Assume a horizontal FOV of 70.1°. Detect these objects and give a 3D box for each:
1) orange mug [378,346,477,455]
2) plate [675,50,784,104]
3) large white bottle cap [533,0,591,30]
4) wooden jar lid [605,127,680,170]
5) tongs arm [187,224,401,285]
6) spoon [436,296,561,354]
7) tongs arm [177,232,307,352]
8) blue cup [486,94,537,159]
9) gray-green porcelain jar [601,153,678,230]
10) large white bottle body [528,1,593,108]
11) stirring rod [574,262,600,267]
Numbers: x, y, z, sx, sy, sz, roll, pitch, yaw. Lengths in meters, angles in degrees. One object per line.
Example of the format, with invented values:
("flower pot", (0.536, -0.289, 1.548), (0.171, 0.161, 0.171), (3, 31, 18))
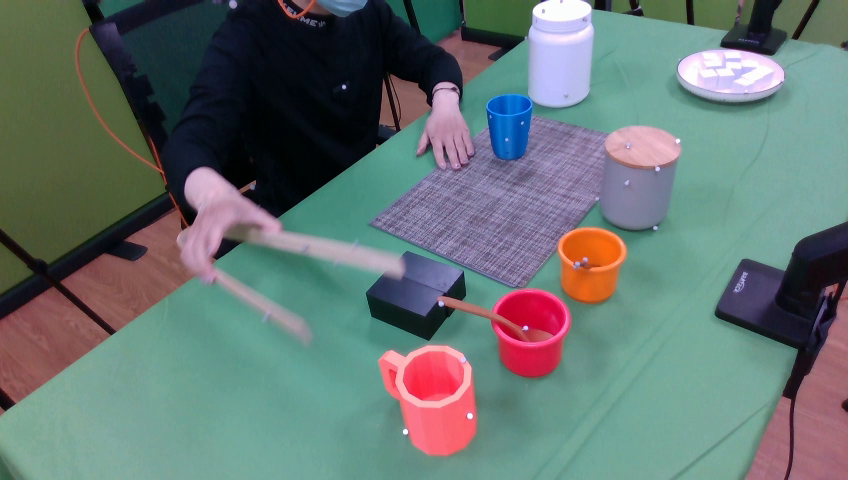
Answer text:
("orange mug", (0.002, 0.179, 0.709), (0.125, 0.101, 0.083), (25, 50, 27))
("plate", (0.632, -0.336, 1.262), (0.207, 0.039, 0.206), (-4, 41, 4))
("large white bottle cap", (0.274, -0.450, 1.204), (0.115, 0.018, 0.114), (-4, 41, 4))
("wooden jar lid", (0.327, -0.134, 0.909), (0.108, 0.021, 0.108), (-2, 43, 2))
("tongs arm", (-0.188, 0.019, 0.793), (0.381, 0.026, 0.051), (12, 38, 39))
("spoon", (0.095, 0.102, 0.750), (0.195, 0.021, 0.041), (28, 30, -28))
("tongs arm", (-0.240, 0.054, 0.748), (0.028, 0.028, 0.384), (-35, 34, -26))
("blue cup", (0.160, -0.208, 1.129), (0.092, 0.100, 0.092), (-4, 39, 3))
("gray-green porcelain jar", (0.334, -0.087, 0.949), (0.106, 0.127, 0.105), (-4, 40, 4))
("large white bottle body", (0.283, -0.386, 1.259), (0.130, 0.185, 0.130), (-5, 41, 4))
("stirring rod", (0.221, 0.033, 0.817), (0.014, 0.006, 0.177), (9, 1, 22))
